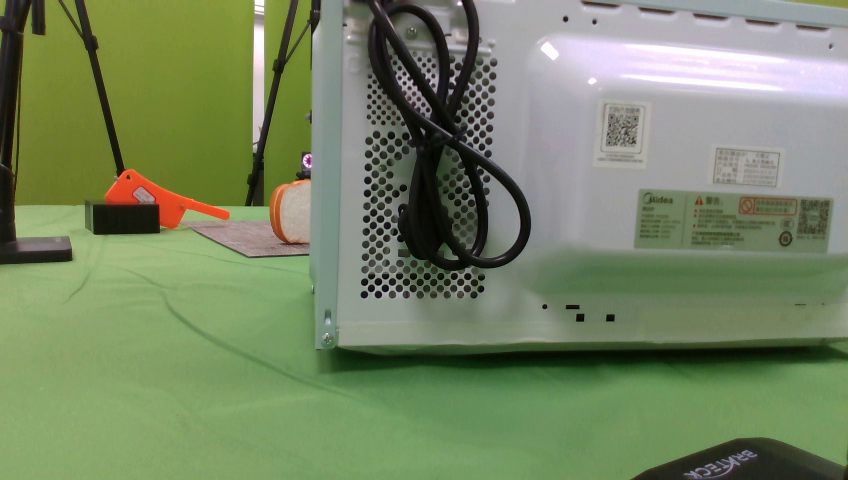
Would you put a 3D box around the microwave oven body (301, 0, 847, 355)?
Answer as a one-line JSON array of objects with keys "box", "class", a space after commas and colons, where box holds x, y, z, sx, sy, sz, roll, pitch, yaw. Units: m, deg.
[{"box": [0.120, -0.053, 0.535, 0.443, 0.260, 0.325, 2, 7, -11], "class": "microwave oven body"}]

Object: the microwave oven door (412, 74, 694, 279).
[{"box": [0.152, -0.090, 0.794, 0.354, 0.243, 0.039, 6, 9, 26], "class": "microwave oven door"}]

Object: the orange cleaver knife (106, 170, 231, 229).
[{"box": [-0.458, -0.060, 1.097, 0.212, 0.077, 0.012, 23, -4, -38], "class": "orange cleaver knife"}]

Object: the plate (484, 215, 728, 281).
[{"box": [0.159, 0.005, 0.545, 0.208, 0.039, 0.207, -2, 7, 1], "class": "plate"}]

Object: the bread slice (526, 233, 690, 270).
[{"box": [0.175, 0.009, 0.564, 0.134, 0.018, 0.107, -4, 8, 26], "class": "bread slice"}]

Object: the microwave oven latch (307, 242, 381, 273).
[{"box": [-0.086, 0.019, 0.656, 0.079, 0.029, 0.030, 2, 7, -10], "class": "microwave oven latch"}]
